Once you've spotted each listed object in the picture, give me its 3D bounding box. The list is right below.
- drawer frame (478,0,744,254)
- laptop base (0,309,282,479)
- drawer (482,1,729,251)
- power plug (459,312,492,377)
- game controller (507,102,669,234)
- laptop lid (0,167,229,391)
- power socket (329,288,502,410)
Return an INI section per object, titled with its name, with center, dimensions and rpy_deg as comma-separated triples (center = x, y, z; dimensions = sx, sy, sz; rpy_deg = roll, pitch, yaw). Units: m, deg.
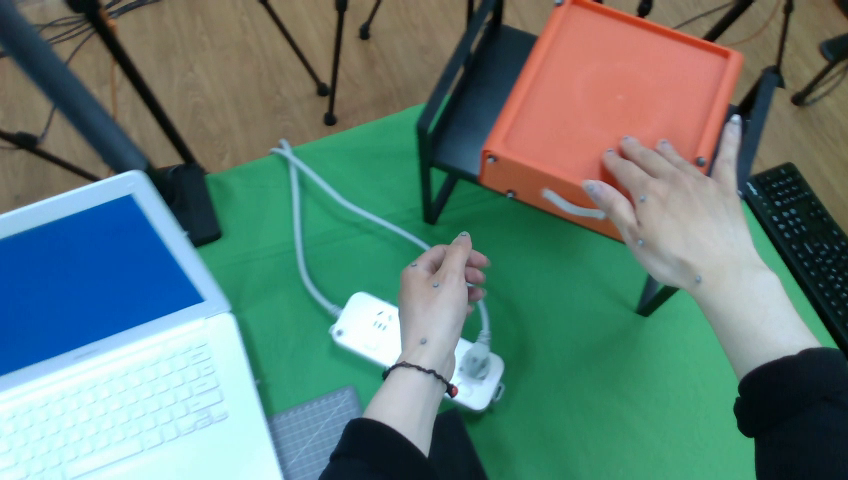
[drawer frame]
center = 0.188, -0.124, 0.620
dimensions = 0.201, 0.083, 0.212
rpy_deg = 23, 70, 10
[laptop base]
center = -0.364, 0.246, 0.710
dimensions = 0.354, 0.023, 0.234
rpy_deg = -21, 72, -7
[drawer]
center = 0.189, -0.121, 0.620
dimensions = 0.194, 0.074, 0.211
rpy_deg = 23, 70, 10
[power plug]
center = 0.070, 0.129, 0.718
dimensions = 0.035, 0.053, 0.072
rpy_deg = 34, 72, 14
[game controller]
center = 0.171, -0.080, 0.619
dimensions = 0.154, 0.052, 0.097
rpy_deg = 26, 76, 13
[laptop lid]
center = -0.428, 0.065, 0.668
dimensions = 0.357, 0.244, 0.013
rpy_deg = -22, 45, -7
[power socket]
center = -0.010, 0.132, 0.743
dimensions = 0.226, 0.033, 0.072
rpy_deg = 25, 71, 10
